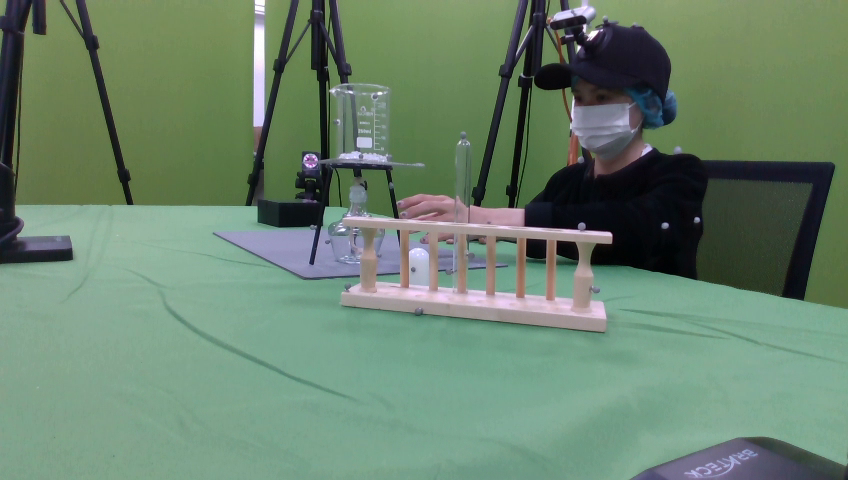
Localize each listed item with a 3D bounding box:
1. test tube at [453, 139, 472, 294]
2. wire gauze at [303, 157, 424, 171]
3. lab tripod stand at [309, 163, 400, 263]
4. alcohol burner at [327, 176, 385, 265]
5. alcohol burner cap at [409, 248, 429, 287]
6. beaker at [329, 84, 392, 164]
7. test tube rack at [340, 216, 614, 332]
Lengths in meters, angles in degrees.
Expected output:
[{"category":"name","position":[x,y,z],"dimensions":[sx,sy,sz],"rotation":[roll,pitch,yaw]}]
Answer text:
[{"category":"test tube","position":[0.037,-0.021,0.584],"dimensions":[0.017,0.150,0.017],"rotation":[1,7,0]},{"category":"wire gauze","position":[-0.082,-0.101,0.799],"dimensions":[0.126,0.011,0.121],"rotation":[1,7,-30]},{"category":"lab tripod stand","position":[-0.091,-0.037,0.813],"dimensions":[0.148,0.131,0.148],"rotation":[1,6,0]},{"category":"alcohol burner","position":[-0.090,-0.027,0.811],"dimensions":[0.078,0.119,0.078],"rotation":[3,5,0]},{"category":"alcohol burner cap","position":[-0.008,0.032,0.674],"dimensions":[0.034,0.048,0.034],"rotation":[3,6,0]},{"category":"beaker","position":[-0.084,-0.149,0.794],"dimensions":[0.084,0.100,0.073],"rotation":[-1,6,-23]},{"category":"test tube rack","position":[0.048,0.026,0.568],"dimensions":[0.242,0.085,0.067],"rotation":[4,8,13]}]
